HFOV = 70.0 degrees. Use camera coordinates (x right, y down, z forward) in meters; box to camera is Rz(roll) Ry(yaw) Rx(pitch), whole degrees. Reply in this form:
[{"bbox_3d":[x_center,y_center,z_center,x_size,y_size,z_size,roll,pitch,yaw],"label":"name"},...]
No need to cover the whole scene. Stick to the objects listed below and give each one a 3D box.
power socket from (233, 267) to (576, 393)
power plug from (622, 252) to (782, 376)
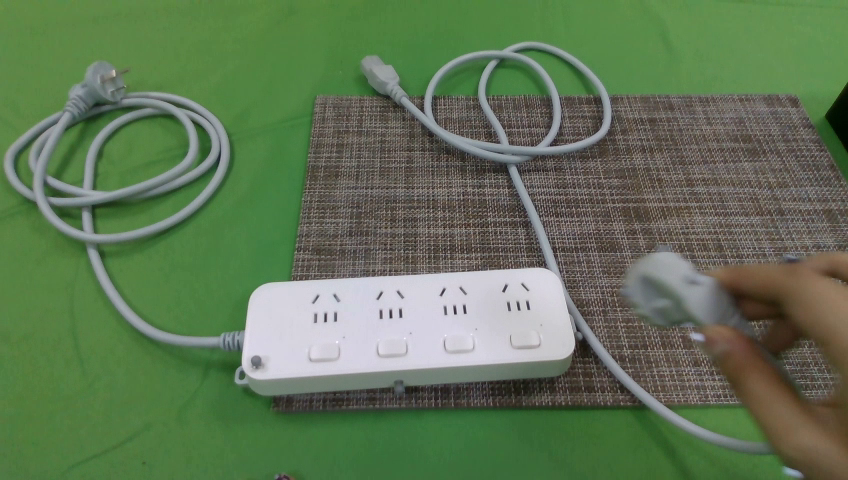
[{"bbox_3d":[-0.011,0.058,0.399,0.227,0.033,0.071,-3,53,-3],"label":"power socket"},{"bbox_3d":[0.123,0.039,0.287,0.035,0.052,0.072,-31,88,-11],"label":"power plug"}]
